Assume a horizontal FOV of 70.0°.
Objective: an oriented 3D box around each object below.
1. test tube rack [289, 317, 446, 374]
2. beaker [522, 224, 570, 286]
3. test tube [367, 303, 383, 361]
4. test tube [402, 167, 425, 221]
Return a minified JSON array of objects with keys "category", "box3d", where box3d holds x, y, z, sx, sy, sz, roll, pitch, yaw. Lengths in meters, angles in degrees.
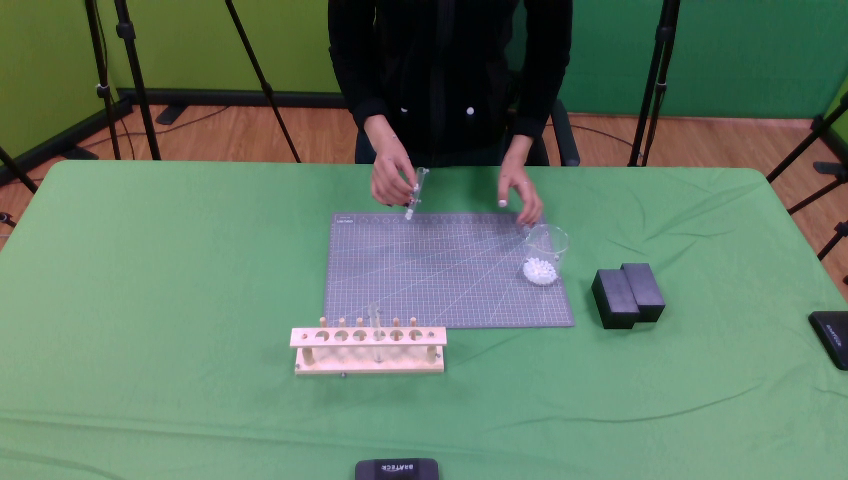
[{"category":"test tube rack","box3d":[-0.089,0.167,0.987,0.242,0.085,0.066,0,46,-4]},{"category":"beaker","box3d":[0.221,0.032,1.129,0.084,0.101,0.073,-6,46,-9]},{"category":"test tube","box3d":[-0.075,0.146,0.941,0.017,0.151,0.017,0,49,0]},{"category":"test tube","box3d":[-0.021,-0.081,1.116,0.017,0.151,0.017,7,54,-9]}]
